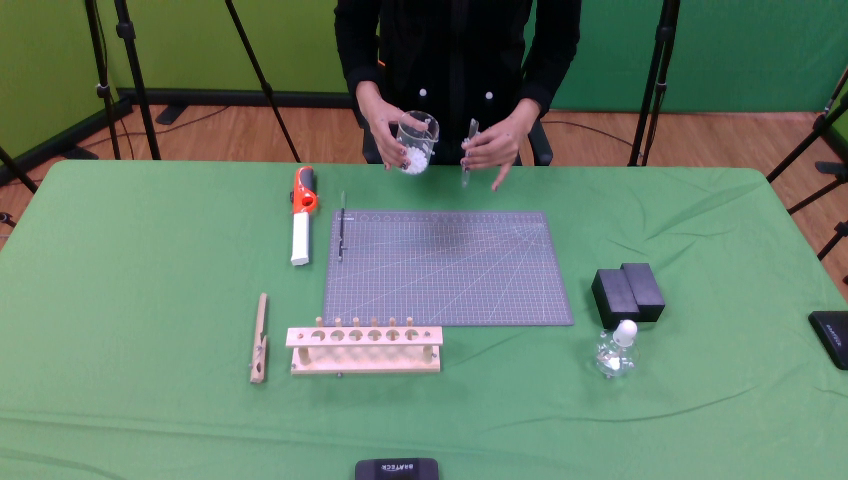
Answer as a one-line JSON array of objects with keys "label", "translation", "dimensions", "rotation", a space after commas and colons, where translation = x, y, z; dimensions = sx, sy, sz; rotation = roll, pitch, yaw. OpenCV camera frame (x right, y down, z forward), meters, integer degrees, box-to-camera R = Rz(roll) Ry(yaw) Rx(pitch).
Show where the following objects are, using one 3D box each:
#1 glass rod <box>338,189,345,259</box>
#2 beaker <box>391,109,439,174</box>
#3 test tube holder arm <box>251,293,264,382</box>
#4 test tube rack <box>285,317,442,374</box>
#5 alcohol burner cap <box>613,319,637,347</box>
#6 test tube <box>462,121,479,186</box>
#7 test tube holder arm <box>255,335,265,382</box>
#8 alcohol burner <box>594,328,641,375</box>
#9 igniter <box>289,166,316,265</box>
[{"label": "glass rod", "translation": [-0.166, -0.037, 1.226], "dimensions": [0.008, 0.008, 0.198], "rotation": [-1, 47, -4]}, {"label": "beaker", "translation": [-0.018, -0.176, 1.111], "dimensions": [0.083, 0.100, 0.074], "rotation": [38, 54, 14]}, {"label": "test tube holder arm", "translation": [-0.281, 0.159, 1.025], "dimensions": [0.013, 0.015, 0.177], "rotation": [23, 36, -32]}, {"label": "test tube rack", "translation": [-0.095, 0.166, 0.988], "dimensions": [0.242, 0.085, 0.066], "rotation": [0, 46, -4]}, {"label": "alcohol burner cap", "translation": [0.323, 0.146, 0.966], "dimensions": [0.034, 0.048, 0.033], "rotation": [-1, 52, 2]}, {"label": "test tube", "translation": [0.087, -0.161, 1.151], "dimensions": [0.017, 0.151, 0.017], "rotation": [3, 47, -3]}, {"label": "test tube holder arm", "translation": [-0.270, 0.193, 0.997], "dimensions": [0.010, 0.015, 0.087], "rotation": [23, 36, -32]}, {"label": "alcohol burner", "translation": [0.322, 0.170, 0.994], "dimensions": [0.078, 0.119, 0.077], "rotation": [3, 48, -3]}, {"label": "igniter", "translation": [-0.248, -0.058, 1.233], "dimensions": [0.057, 0.025, 0.274], "rotation": [-9, 47, 1]}]
